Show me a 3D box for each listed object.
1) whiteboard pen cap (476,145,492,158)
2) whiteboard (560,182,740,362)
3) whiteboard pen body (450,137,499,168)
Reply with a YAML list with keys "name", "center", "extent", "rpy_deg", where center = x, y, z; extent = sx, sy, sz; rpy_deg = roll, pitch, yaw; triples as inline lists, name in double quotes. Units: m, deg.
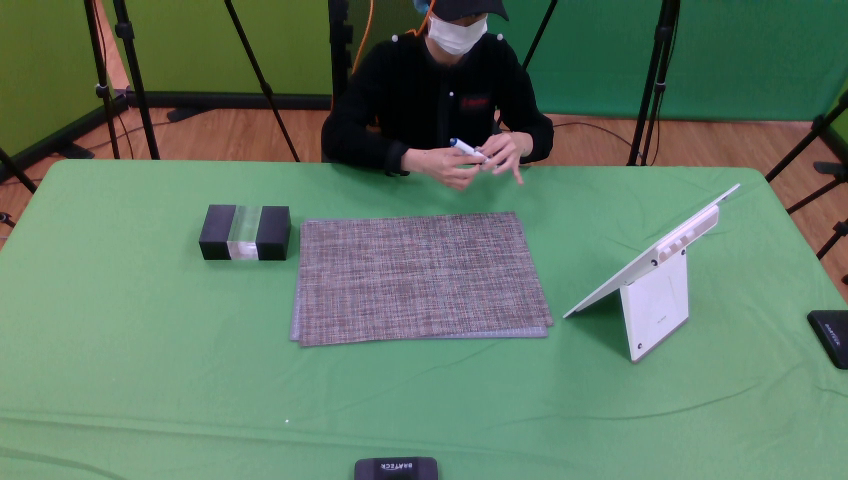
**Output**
- name: "whiteboard pen cap"
  center: [0.122, -0.182, 1.240]
  extent: [0.033, 0.018, 0.018]
  rpy_deg: [27, 41, -23]
- name: "whiteboard"
  center: [0.406, 0.075, 1.001]
  extent: [0.217, 0.306, 0.143]
  rpy_deg: [-28, 73, -28]
- name: "whiteboard pen body"
  center: [0.103, -0.170, 1.198]
  extent: [0.141, 0.017, 0.017]
  rpy_deg: [23, 33, -39]
